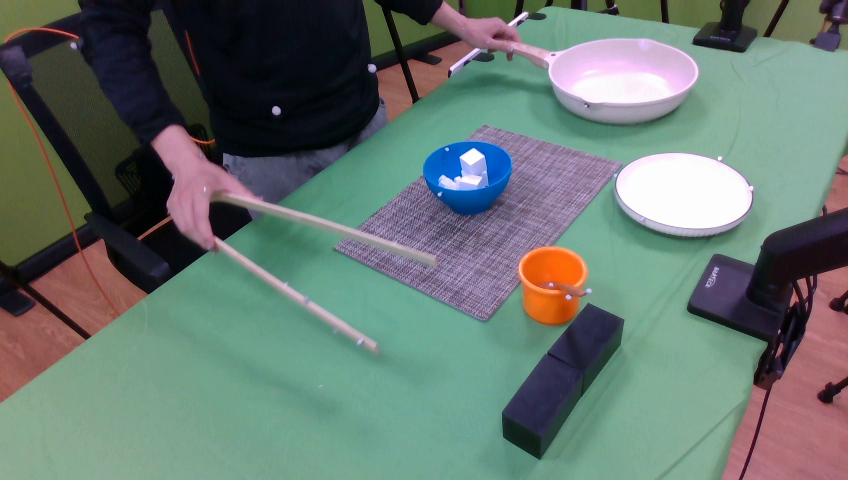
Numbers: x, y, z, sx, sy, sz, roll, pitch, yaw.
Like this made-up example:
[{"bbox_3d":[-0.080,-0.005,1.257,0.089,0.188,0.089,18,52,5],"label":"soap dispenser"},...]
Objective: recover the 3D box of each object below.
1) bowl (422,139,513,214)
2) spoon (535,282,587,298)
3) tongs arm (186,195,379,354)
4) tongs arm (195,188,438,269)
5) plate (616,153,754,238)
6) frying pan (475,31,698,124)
[{"bbox_3d":[0.075,-0.097,1.021,0.151,0.077,0.150,-4,41,4],"label":"bowl"},{"bbox_3d":[0.176,0.063,0.774,0.041,0.194,0.021,-3,85,0],"label":"spoon"},{"bbox_3d":[-0.198,0.037,0.817,0.382,0.026,0.051,27,64,24],"label":"tongs arm"},{"bbox_3d":[-0.158,-0.018,0.851,0.386,0.028,0.028,16,64,18],"label":"tongs arm"},{"bbox_3d":[0.416,-0.069,0.977,0.207,0.039,0.206,-4,40,4],"label":"plate"},{"bbox_3d":[0.320,-0.371,1.289,0.485,0.103,0.307,28,50,23],"label":"frying pan"}]
